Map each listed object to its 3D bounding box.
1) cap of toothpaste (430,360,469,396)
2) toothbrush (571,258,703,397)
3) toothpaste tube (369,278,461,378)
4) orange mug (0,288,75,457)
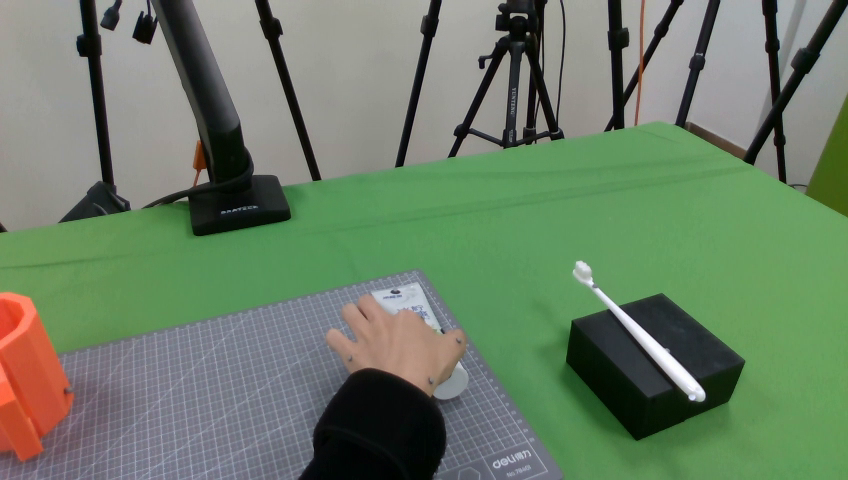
[{"bbox_3d":[0.021,0.116,0.516,0.037,0.037,0.011,-13,32,-18],"label":"cap of toothpaste"},{"bbox_3d":[0.179,0.069,0.526,0.014,0.017,0.180,-7,34,-18],"label":"toothbrush"},{"bbox_3d":[-0.004,0.081,0.581,0.055,0.035,0.163,-5,29,-21],"label":"toothpaste tube"},{"bbox_3d":[-0.331,0.108,0.474,0.083,0.101,0.125,-25,37,-33],"label":"orange mug"}]
